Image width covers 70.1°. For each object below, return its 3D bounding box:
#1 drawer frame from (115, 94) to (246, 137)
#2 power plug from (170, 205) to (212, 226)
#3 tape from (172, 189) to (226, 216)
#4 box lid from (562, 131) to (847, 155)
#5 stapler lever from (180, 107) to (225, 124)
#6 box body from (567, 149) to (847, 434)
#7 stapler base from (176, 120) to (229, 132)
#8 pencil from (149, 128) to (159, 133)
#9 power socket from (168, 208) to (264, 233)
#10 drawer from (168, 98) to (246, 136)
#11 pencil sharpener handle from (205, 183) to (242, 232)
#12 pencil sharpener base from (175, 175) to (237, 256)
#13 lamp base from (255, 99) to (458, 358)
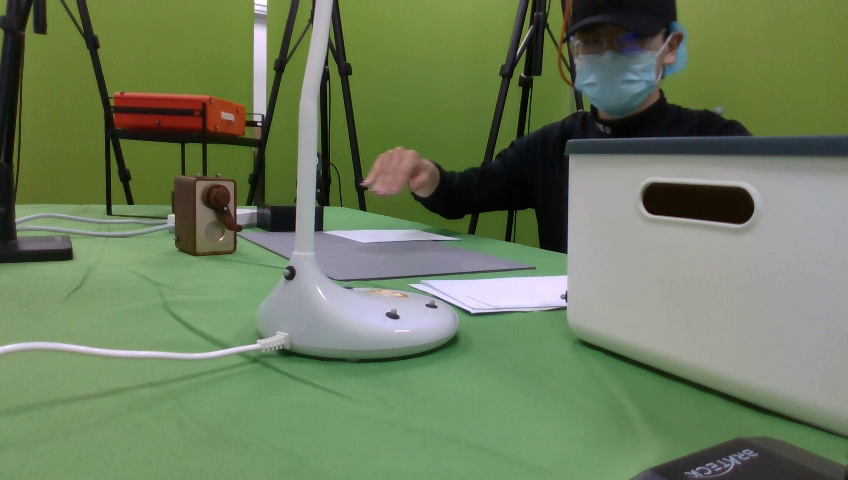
[{"bbox_3d":[-0.543,-0.281,1.374,0.213,0.082,0.201,2,8,4],"label":"drawer frame"},{"bbox_3d":[-0.455,-0.041,1.196,0.052,0.035,0.072,1,42,24],"label":"power plug"},{"bbox_3d":[-0.515,-0.087,1.388,0.117,0.052,0.117,3,8,0],"label":"tape"},{"bbox_3d":[0.322,-0.064,0.463,0.373,0.015,0.262,-2,9,-31],"label":"box lid"},{"bbox_3d":[-0.496,-0.281,1.359,0.027,0.040,0.118,2,7,22],"label":"stapler lever"},{"bbox_3d":[0.318,0.009,0.471,0.366,0.160,0.253,-2,8,-31],"label":"box body"},{"bbox_3d":[-0.496,-0.257,1.364,0.041,0.024,0.131,2,9,22],"label":"stapler base"},{"bbox_3d":[-0.528,-0.258,1.361,0.012,0.012,0.195,8,20,35],"label":"pencil"},{"bbox_3d":[-0.381,-0.038,1.129,0.072,0.032,0.227,4,8,17],"label":"power socket"},{"bbox_3d":[-0.539,-0.279,1.374,0.212,0.073,0.194,2,8,5],"label":"drawer"},{"bbox_3d":[-0.265,-0.043,0.812,0.036,0.068,0.030,-31,27,-35],"label":"pencil sharpener handle"},{"bbox_3d":[-0.304,-0.036,0.847,0.062,0.107,0.076,-4,10,-42],"label":"pencil sharpener base"},{"bbox_3d":[-0.056,-0.013,0.462,0.160,0.180,0.180,6,11,27],"label":"lamp base"}]
